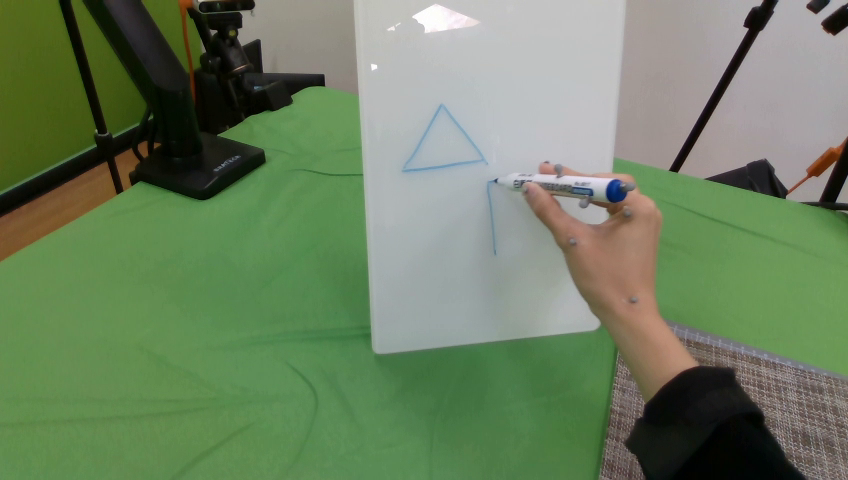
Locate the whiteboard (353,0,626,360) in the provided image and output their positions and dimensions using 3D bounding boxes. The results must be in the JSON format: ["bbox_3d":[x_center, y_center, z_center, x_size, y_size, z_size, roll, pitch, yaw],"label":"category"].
[{"bbox_3d":[0.046,-0.069,0.565,0.218,0.307,0.143,-4,18,-10],"label":"whiteboard"}]

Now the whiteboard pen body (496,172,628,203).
[{"bbox_3d":[0.093,-0.040,0.443,0.017,0.017,0.139,-17,15,-25],"label":"whiteboard pen body"}]
